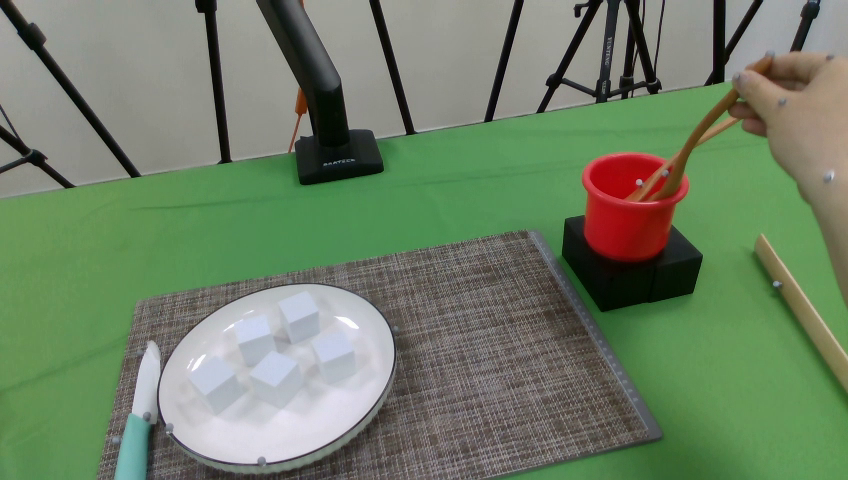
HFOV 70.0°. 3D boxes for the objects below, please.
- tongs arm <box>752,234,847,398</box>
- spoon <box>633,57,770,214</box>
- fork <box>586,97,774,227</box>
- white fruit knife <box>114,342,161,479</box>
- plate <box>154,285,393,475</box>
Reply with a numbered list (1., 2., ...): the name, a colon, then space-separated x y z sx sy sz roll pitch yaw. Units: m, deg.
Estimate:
1. tongs arm: 0.373 0.119 0.518 0.028 0.028 0.383 -1 38 -1
2. spoon: 0.228 -0.079 0.513 0.041 0.195 0.021 -33 66 -26
3. fork: 0.248 -0.074 0.592 0.207 0.019 0.028 -39 12 12
4. white fruit knife: -0.247 0.162 0.529 0.027 0.016 0.205 13 29 -25
5. plate: -0.131 0.123 0.548 0.207 0.039 0.205 -2 38 2
